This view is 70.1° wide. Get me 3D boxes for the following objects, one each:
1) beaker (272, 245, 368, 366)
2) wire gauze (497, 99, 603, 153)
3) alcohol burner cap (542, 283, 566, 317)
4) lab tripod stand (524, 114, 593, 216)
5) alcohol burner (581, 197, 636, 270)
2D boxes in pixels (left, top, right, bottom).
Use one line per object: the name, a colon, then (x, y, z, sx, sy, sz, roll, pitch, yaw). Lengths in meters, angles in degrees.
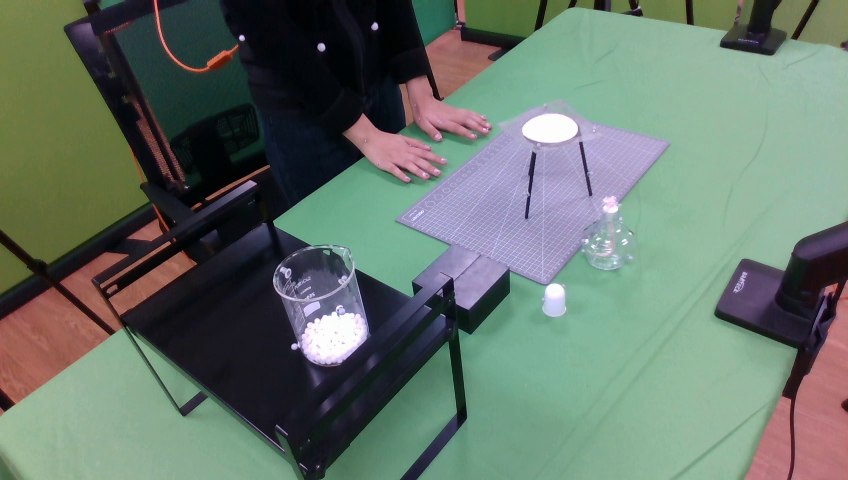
beaker: (-0.093, 0.064, 0.578, 0.073, 0.101, 0.084, 21, 48, 29)
wire gauze: (0.199, -0.181, 0.962, 0.125, 0.011, 0.120, -20, 43, -13)
alcohol burner cap: (0.181, 0.080, 0.840, 0.034, 0.048, 0.033, -3, 40, 3)
lab tripod stand: (0.210, -0.127, 1.001, 0.148, 0.132, 0.147, -4, 42, 4)
alcohol burner: (0.270, -0.015, 0.882, 0.078, 0.119, 0.077, -5, 42, 5)
